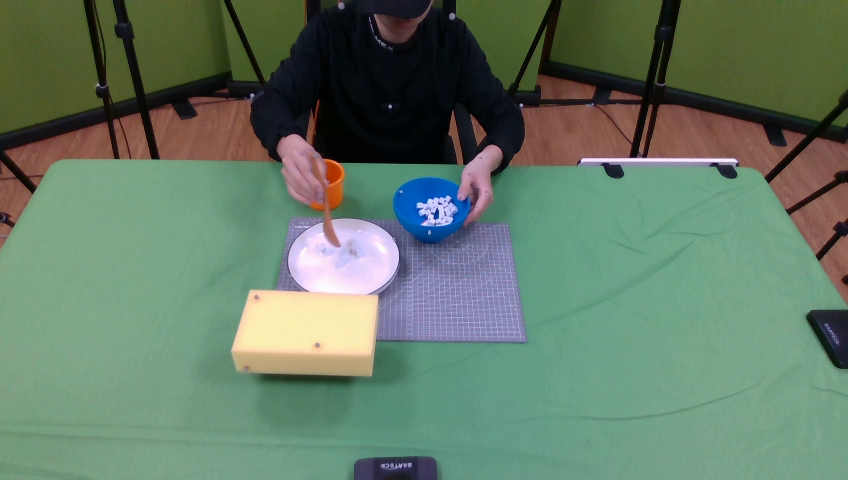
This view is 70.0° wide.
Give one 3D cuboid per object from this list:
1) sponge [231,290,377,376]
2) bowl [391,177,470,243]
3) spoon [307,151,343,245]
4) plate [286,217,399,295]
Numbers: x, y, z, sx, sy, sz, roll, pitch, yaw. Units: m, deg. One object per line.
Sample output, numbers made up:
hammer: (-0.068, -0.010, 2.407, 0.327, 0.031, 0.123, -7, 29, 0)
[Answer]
sponge: (-0.180, 0.144, 0.949, 0.207, 0.061, 0.117, 2, 46, -2)
bowl: (0.011, -0.048, 1.187, 0.151, 0.077, 0.150, 2, 44, -2)
spoon: (-0.175, -0.069, 1.064, 0.021, 0.194, 0.041, -32, 38, -33)
plate: (-0.150, 0.041, 1.131, 0.209, 0.038, 0.208, 2, 46, -2)
